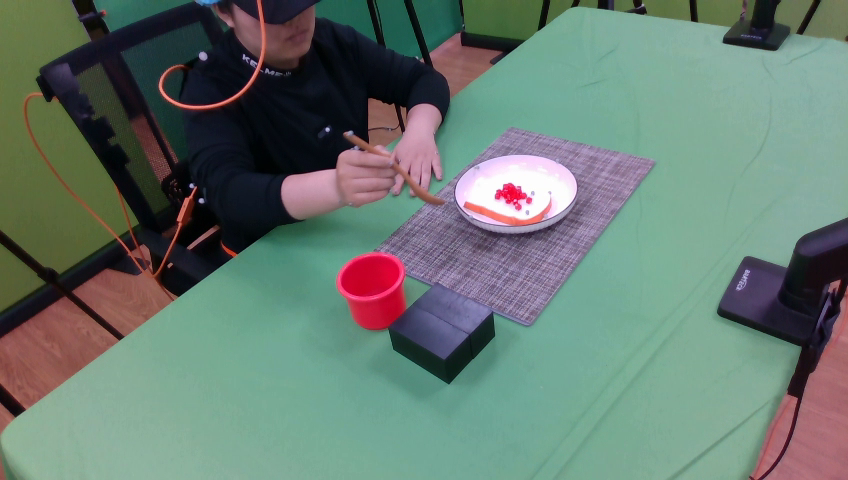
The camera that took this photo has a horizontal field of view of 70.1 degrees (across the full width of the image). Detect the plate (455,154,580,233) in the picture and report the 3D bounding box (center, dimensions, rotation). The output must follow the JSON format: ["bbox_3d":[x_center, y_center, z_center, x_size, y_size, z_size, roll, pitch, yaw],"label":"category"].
[{"bbox_3d":[0.158,-0.076,1.028,0.209,0.038,0.208,-5,40,5],"label":"plate"}]

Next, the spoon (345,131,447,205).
[{"bbox_3d":[-0.037,-0.099,0.855,0.041,0.195,0.021,19,75,55],"label":"spoon"}]

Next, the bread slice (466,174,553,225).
[{"bbox_3d":[0.152,-0.068,1.022,0.130,0.019,0.105,23,50,33],"label":"bread slice"}]
